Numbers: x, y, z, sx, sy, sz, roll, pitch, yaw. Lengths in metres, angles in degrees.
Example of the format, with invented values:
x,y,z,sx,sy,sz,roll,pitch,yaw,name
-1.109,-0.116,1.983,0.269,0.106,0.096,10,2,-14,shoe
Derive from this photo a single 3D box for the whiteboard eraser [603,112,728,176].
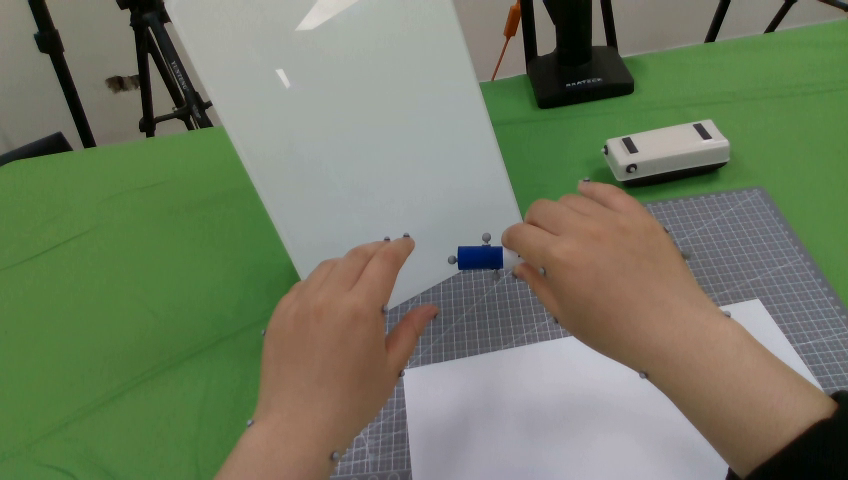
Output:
x,y,z,sx,sy,sz,roll,pitch,yaw,name
0.247,-0.097,0.625,0.112,0.042,0.055,-10,44,3,whiteboard eraser

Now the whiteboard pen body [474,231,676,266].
x,y,z,sx,sy,sz,roll,pitch,yaw,name
0.096,0.007,0.408,0.140,0.017,0.017,-4,43,6,whiteboard pen body

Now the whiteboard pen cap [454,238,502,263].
x,y,z,sx,sy,sz,roll,pitch,yaw,name
0.037,0.007,0.417,0.033,0.018,0.018,0,43,2,whiteboard pen cap

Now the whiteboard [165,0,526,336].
x,y,z,sx,sy,sz,roll,pitch,yaw,name
-0.067,-0.110,0.570,0.217,0.308,0.142,-27,23,-14,whiteboard
